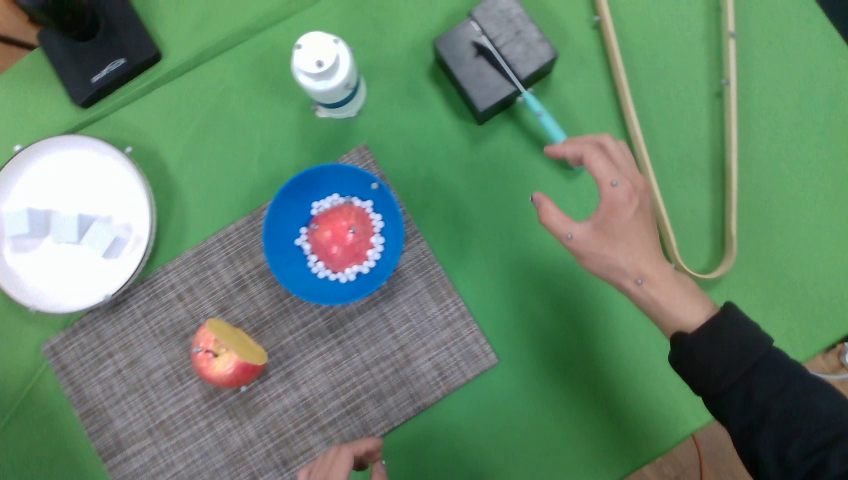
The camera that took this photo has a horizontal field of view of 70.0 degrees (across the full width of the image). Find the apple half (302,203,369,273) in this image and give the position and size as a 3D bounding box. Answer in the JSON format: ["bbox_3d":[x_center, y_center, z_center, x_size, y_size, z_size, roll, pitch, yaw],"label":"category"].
[{"bbox_3d":[-0.097,-0.003,0.661,0.081,0.033,0.081,0,84,4],"label":"apple half"}]

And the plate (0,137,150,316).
[{"bbox_3d":[-0.418,-0.014,0.709,0.207,0.039,0.207,0,85,3],"label":"plate"}]

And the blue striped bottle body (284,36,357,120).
[{"bbox_3d":[-0.113,-0.179,0.663,0.063,0.121,0.063,0,84,4],"label":"blue striped bottle body"}]

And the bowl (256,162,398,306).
[{"bbox_3d":[-0.098,-0.003,0.666,0.151,0.077,0.151,0,86,4],"label":"bowl"}]

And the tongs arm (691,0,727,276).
[{"bbox_3d":[0.315,-0.153,0.682,0.051,0.026,0.384,-3,86,4],"label":"tongs arm"}]

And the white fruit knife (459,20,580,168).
[{"bbox_3d":[0.105,-0.158,0.667,0.016,0.027,0.208,-39,101,16],"label":"white fruit knife"}]

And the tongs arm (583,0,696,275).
[{"bbox_3d":[0.234,-0.142,0.690,0.028,0.028,0.386,-16,85,0],"label":"tongs arm"}]

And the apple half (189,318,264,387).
[{"bbox_3d":[-0.222,0.130,0.665,0.081,0.074,0.053,38,92,2],"label":"apple half"}]

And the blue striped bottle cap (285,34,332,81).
[{"bbox_3d":[-0.117,-0.185,0.613,0.044,0.020,0.044,0,87,2],"label":"blue striped bottle cap"}]
